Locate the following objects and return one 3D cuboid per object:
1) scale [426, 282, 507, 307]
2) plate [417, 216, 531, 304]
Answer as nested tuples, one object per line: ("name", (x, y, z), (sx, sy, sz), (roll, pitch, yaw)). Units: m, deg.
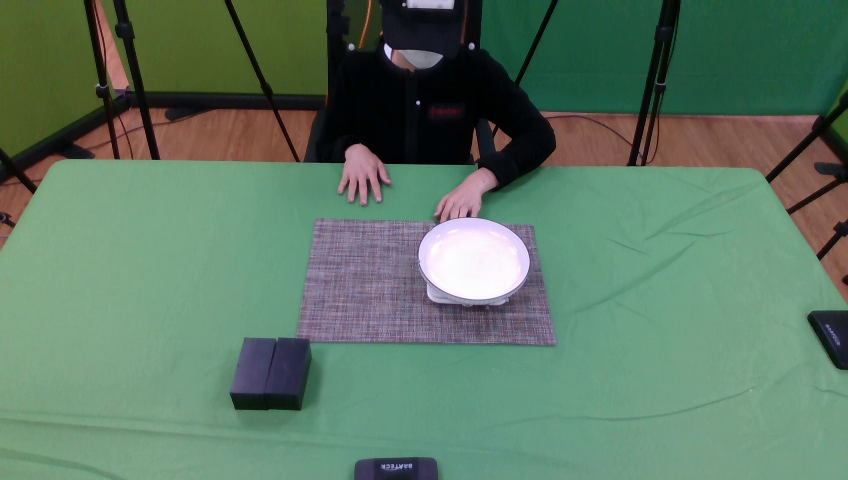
("scale", (0.078, 0.043, 1.152), (0.149, 0.032, 0.199), (3, 45, -2))
("plate", (0.089, 0.039, 1.110), (0.208, 0.039, 0.206), (2, 45, -1))
